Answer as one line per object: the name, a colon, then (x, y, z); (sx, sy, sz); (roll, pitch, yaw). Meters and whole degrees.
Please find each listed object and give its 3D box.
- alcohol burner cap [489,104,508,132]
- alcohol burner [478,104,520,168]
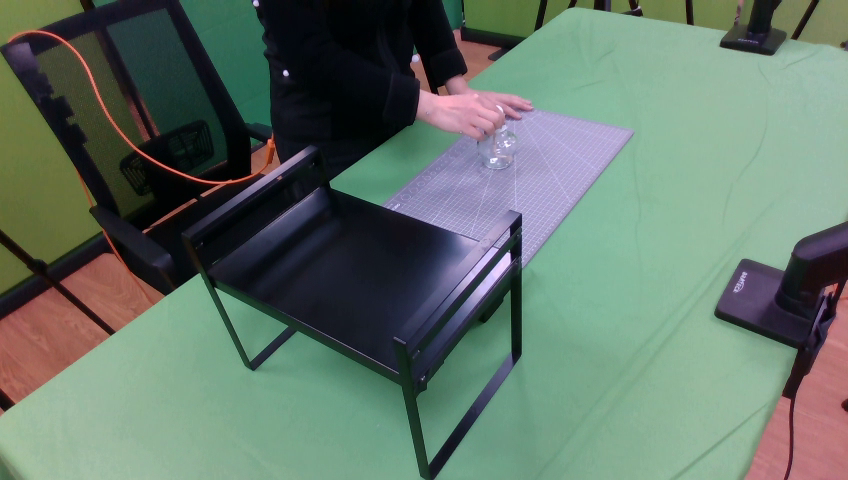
alcohol burner cap: (0.132, -0.221, 1.083); (0.034, 0.048, 0.033); (-8, 41, 8)
alcohol burner: (0.136, -0.194, 1.107); (0.078, 0.119, 0.077); (-5, 39, 4)
